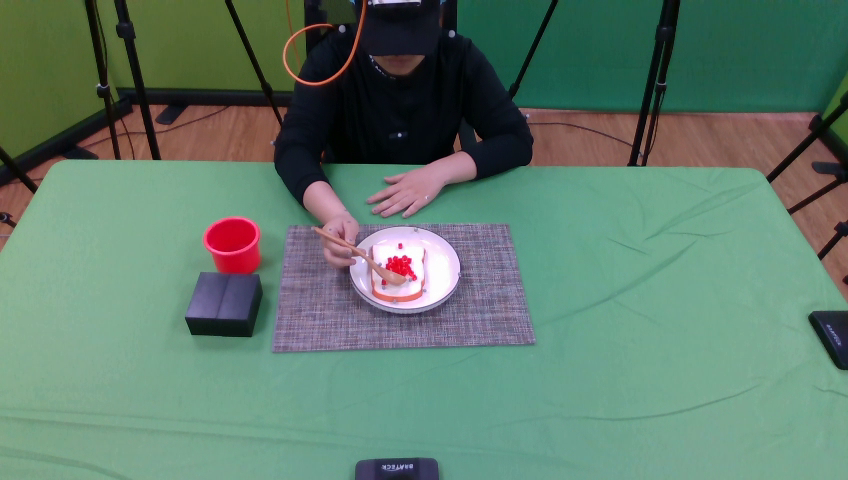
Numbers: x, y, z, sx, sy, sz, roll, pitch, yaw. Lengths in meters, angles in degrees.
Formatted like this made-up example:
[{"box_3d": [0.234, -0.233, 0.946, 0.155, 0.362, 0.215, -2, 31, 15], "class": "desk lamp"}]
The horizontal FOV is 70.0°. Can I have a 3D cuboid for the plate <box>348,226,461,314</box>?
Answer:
[{"box_3d": [-0.035, 0.058, 1.123, 0.209, 0.038, 0.208, 2, 46, -2], "class": "plate"}]

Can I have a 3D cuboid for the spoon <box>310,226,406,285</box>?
[{"box_3d": [-0.115, 0.026, 1.065, 0.194, 0.021, 0.041, 35, 20, -14], "class": "spoon"}]

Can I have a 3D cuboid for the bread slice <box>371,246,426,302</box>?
[{"box_3d": [-0.047, 0.060, 1.123, 0.105, 0.019, 0.130, 1, 46, -3], "class": "bread slice"}]
